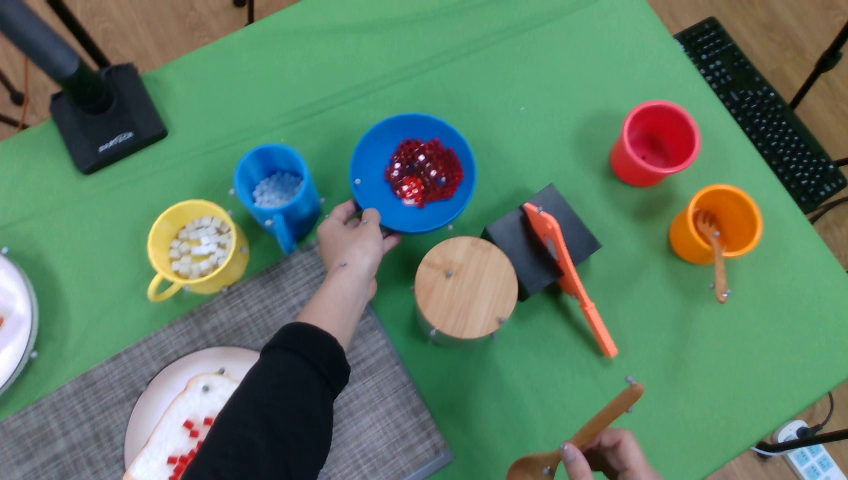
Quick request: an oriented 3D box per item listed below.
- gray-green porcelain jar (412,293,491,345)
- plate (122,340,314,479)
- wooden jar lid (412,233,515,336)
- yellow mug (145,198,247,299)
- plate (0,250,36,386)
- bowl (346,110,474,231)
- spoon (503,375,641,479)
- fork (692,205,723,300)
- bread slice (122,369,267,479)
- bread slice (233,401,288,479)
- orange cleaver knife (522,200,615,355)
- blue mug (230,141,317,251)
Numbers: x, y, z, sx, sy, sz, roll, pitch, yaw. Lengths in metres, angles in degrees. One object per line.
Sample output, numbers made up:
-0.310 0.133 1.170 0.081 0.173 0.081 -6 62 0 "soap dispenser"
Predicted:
0.039 0.064 0.695 0.106 0.127 0.105 1 75 -3 "gray-green porcelain jar"
-0.228 0.219 0.684 0.209 0.038 0.208 1 76 -2 "plate"
0.041 0.047 0.634 0.108 0.021 0.108 1 77 -5 "wooden jar lid"
-0.280 0.019 0.723 0.099 0.064 0.130 37 78 7 "yellow mug"
-0.555 0.100 0.704 0.208 0.039 0.206 1 76 -3 "plate"
-0.018 -0.074 0.742 0.151 0.077 0.150 1 75 -2 "bowl"
0.128 0.176 0.535 0.041 0.194 0.022 47 43 16 "spoon"
0.334 0.009 0.710 0.028 0.019 0.206 31 32 1 "fork"
-0.228 0.204 0.627 0.107 0.018 0.133 24 69 -3 "bread slice"
-0.231 0.232 0.684 0.105 0.019 0.131 25 73 6 "bread slice"
0.172 0.045 0.728 0.012 0.077 0.212 -31 105 -9 "orange cleaver knife"
-0.174 -0.044 0.724 0.082 0.106 0.116 -10 76 -5 "blue mug"
